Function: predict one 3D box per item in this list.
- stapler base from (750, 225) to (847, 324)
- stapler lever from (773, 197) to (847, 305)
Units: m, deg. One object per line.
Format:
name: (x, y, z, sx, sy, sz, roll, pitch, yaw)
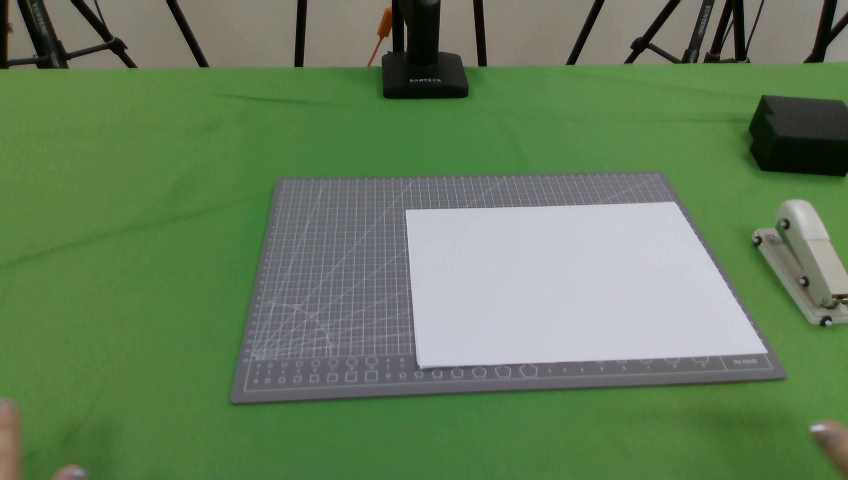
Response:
stapler base: (0.364, 0.024, 0.587, 0.041, 0.024, 0.129, -3, 44, -2)
stapler lever: (0.365, 0.007, 0.568, 0.027, 0.040, 0.117, -3, 44, -2)
